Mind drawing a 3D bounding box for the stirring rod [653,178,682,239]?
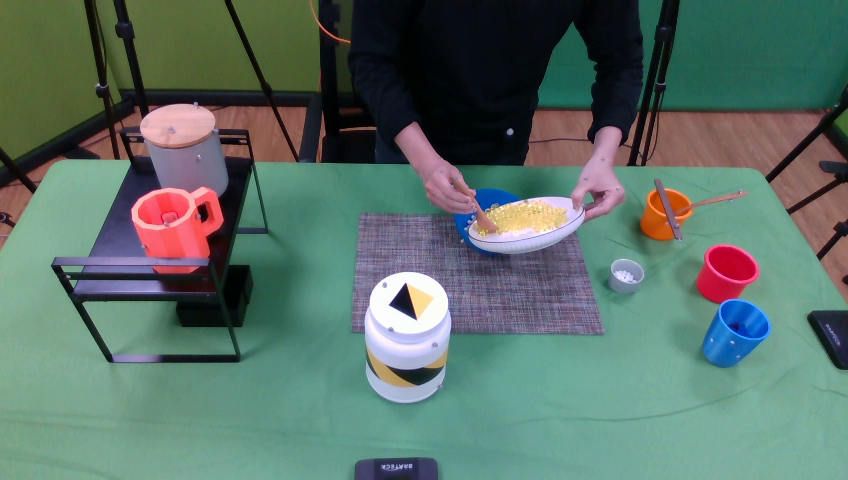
[{"bbox_3d":[0.482,-0.065,1.203,0.014,0.006,0.175,2,46,-1],"label":"stirring rod"}]

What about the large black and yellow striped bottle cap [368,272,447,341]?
[{"bbox_3d":[-0.023,0.093,0.875,0.115,0.019,0.114,3,46,-3],"label":"large black and yellow striped bottle cap"}]

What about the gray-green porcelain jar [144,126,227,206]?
[{"bbox_3d":[-0.375,-0.126,0.967,0.106,0.127,0.105,2,46,-2],"label":"gray-green porcelain jar"}]

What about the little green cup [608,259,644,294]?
[{"bbox_3d":[0.379,0.070,1.147,0.061,0.039,0.061,3,46,-3],"label":"little green cup"}]

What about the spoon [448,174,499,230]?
[{"bbox_3d":[0.084,-0.064,1.049,0.041,0.195,0.021,18,71,36],"label":"spoon"}]

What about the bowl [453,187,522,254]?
[{"bbox_3d":[0.129,-0.026,1.186,0.151,0.077,0.150,2,45,-2],"label":"bowl"}]

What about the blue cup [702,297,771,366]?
[{"bbox_3d":[0.519,0.162,1.025,0.093,0.101,0.092,3,45,-3],"label":"blue cup"}]

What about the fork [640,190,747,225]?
[{"bbox_3d":[0.533,-0.065,1.211,0.207,0.019,0.028,-22,28,38],"label":"fork"}]

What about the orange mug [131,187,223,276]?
[{"bbox_3d":[-0.354,-0.022,0.888,0.083,0.101,0.126,31,55,24],"label":"orange mug"}]

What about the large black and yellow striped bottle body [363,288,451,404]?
[{"bbox_3d":[-0.027,0.153,0.935,0.131,0.185,0.130,2,46,-2],"label":"large black and yellow striped bottle body"}]

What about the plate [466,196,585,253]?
[{"bbox_3d":[0.181,-0.024,1.070,0.209,0.038,0.208,-14,19,5],"label":"plate"}]

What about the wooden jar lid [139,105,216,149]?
[{"bbox_3d":[-0.372,-0.169,0.920,0.108,0.021,0.107,4,43,-4],"label":"wooden jar lid"}]
